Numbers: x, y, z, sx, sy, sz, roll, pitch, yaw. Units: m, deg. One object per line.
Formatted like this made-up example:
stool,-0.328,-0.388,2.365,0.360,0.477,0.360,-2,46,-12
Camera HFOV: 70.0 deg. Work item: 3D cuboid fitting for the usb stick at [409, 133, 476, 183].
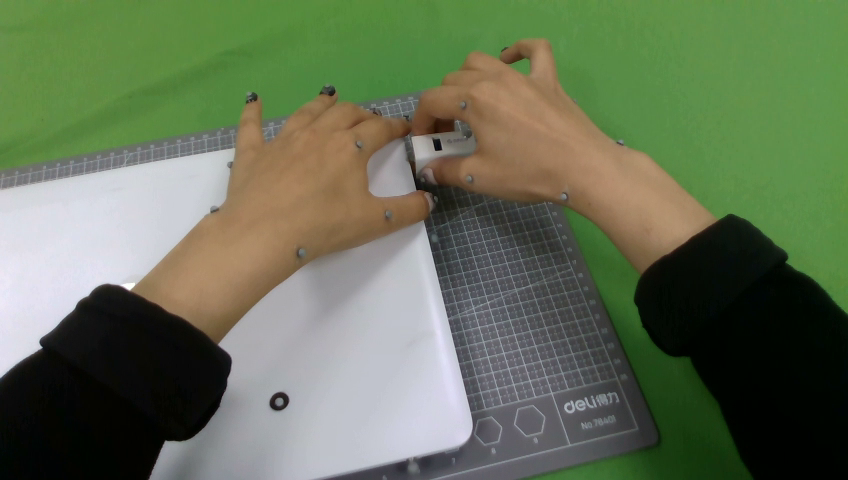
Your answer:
usb stick,0.006,-0.056,0.425,0.059,0.027,0.021,-10,61,-2

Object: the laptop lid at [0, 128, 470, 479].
laptop lid,-0.167,0.047,0.367,0.357,0.013,0.239,-9,60,-4

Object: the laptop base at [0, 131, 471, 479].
laptop base,-0.167,0.051,0.378,0.355,0.023,0.233,-11,62,-5
